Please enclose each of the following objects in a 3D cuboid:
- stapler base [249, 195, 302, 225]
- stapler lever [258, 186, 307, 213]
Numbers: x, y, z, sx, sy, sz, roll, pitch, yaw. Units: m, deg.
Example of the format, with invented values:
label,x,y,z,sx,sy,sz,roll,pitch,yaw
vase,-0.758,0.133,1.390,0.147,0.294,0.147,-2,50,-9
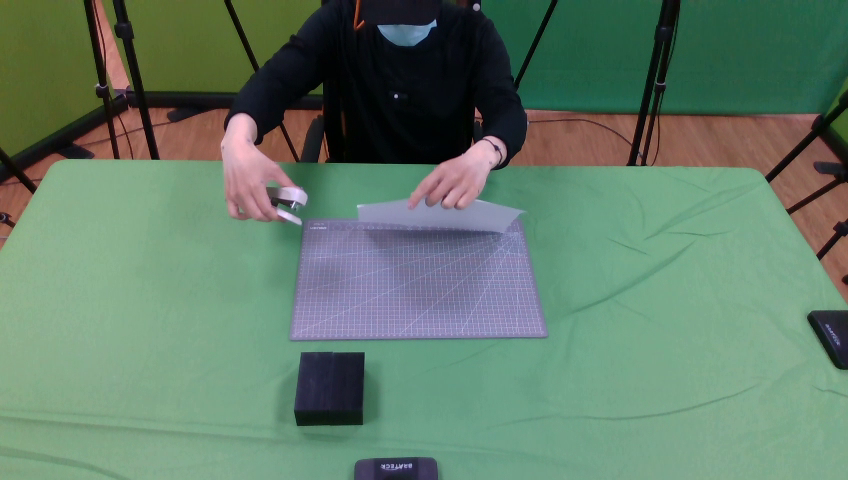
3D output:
label,x,y,z,sx,sy,sz,roll,pitch,yaw
stapler base,-0.262,-0.059,1.086,0.130,0.041,0.024,21,83,40
stapler lever,-0.253,-0.080,1.088,0.117,0.027,0.040,23,85,40
